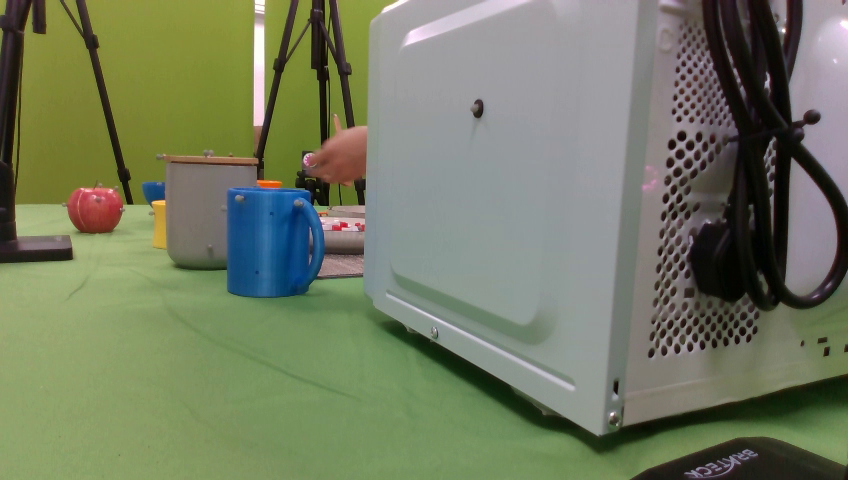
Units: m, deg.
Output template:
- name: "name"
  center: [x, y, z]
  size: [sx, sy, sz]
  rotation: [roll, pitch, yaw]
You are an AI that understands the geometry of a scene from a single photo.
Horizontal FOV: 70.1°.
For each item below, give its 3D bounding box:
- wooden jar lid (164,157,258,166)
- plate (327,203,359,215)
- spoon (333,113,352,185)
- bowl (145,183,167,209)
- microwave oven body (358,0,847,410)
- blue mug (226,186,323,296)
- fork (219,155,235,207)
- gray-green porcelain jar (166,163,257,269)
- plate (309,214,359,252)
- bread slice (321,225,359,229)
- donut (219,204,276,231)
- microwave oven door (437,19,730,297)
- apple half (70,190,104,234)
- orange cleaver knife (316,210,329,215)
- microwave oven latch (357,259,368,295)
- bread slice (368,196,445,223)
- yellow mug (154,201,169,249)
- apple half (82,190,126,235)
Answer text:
- name: "wooden jar lid"
  center: [-0.261, -0.093, 0.746]
  size: [0.108, 0.020, 0.108]
  rotation: [0, 9, 0]
- name: "plate"
  center: [-0.102, -0.053, 1.299]
  size: [0.209, 0.038, 0.209]
  rotation: [2, 8, 0]
- name: "spoon"
  center: [-0.172, -0.191, 1.250]
  size: [0.042, 0.193, 0.021]
  rotation: [18, -38, -39]
- name: "bowl"
  center: [-0.459, -0.068, 1.175]
  size: [0.151, 0.077, 0.151]
  rotation: [3, 7, 0]
- name: "microwave oven body"
  center: [0.210, -0.051, 0.471]
  size: [0.444, 0.260, 0.324]
  rotation: [-1, 7, -28]
- name: "blue mug"
  center: [-0.148, 0.000, 0.618]
  size: [0.116, 0.106, 0.083]
  rotation: [7, 9, 33]
- name: "fork"
  center: [-0.459, -0.134, 1.415]
  size: [0.028, 0.018, 0.207]
  rotation: [-1, -34, -24]
- name: "gray-green porcelain jar"
  center: [-0.263, -0.031, 0.754]
  size: [0.106, 0.126, 0.106]
  rotation: [2, 7, 0]
- name: "plate"
  center: [-0.130, -0.011, 0.945]
  size: [0.208, 0.039, 0.207]
  rotation: [2, 8, 0]
- name: "bread slice"
  center: [-0.125, -0.009, 0.937]
  size: [0.131, 0.019, 0.105]
  rotation: [5, 8, 32]
- name: "donut"
  center: [-0.316, -0.039, 1.083]
  size: [0.099, 0.048, 0.099]
  rotation: [2, 7, 0]
- name: "microwave oven door"
  center: [0.180, -0.076, 0.618]
  size: [0.358, 0.243, 0.039]
  rotation: [-2, 9, -28]
- name: "apple half"
  center: [-0.552, -0.047, 1.009]
  size: [0.053, 0.074, 0.081]
  rotation: [-1, 9, 26]
- name: "orange cleaver knife"
  center: [-0.259, -0.064, 1.423]
  size: [0.212, 0.012, 0.077]
  rotation: [-4, 3, -30]
- name: "microwave oven latch"
  center: [-0.019, 0.031, 0.529]
  size: [0.079, 0.029, 0.030]
  rotation: [-1, 7, -26]
- name: "bread slice"
  center: [-0.040, -0.057, 1.142]
  size: [0.107, 0.018, 0.133]
  rotation: [-7, -8, -40]
- name: "yellow mug"
  center: [-0.338, -0.022, 0.899]
  size: [0.130, 0.064, 0.100]
  rotation: [8, 9, 34]
- name: "apple half"
  center: [-0.517, -0.046, 0.994]
  size: [0.032, 0.081, 0.081]
  rotation: [0, 6, 26]
